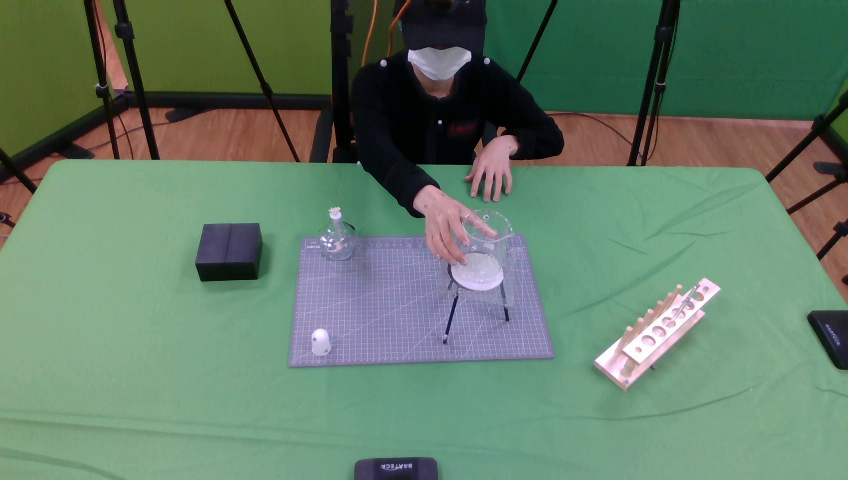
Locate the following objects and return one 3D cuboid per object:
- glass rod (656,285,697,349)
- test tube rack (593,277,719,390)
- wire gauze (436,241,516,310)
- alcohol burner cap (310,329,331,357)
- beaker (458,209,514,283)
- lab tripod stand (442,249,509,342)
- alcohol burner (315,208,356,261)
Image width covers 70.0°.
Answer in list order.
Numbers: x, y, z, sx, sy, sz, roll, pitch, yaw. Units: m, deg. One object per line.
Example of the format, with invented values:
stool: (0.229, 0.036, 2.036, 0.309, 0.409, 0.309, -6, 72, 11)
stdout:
glass rod: (0.401, 0.128, 0.971, 0.008, 0.201, 0.008, 0, 53, 1)
test tube rack: (0.401, 0.148, 1.043, 0.242, 0.085, 0.066, -30, 55, -29)
wire gauze: (0.086, 0.052, 0.982, 0.125, 0.011, 0.121, 11, 47, 2)
alcohol burner cap: (-0.173, 0.168, 1.005, 0.034, 0.048, 0.033, 2, 46, -2)
beaker: (0.094, 0.013, 0.953, 0.084, 0.101, 0.073, 12, 45, 8)
lab tripod stand: (0.081, 0.091, 1.036, 0.148, 0.132, 0.147, 3, 44, -3)
alcohol burner: (-0.166, -0.017, 1.134, 0.078, 0.120, 0.077, 2, 48, -2)
